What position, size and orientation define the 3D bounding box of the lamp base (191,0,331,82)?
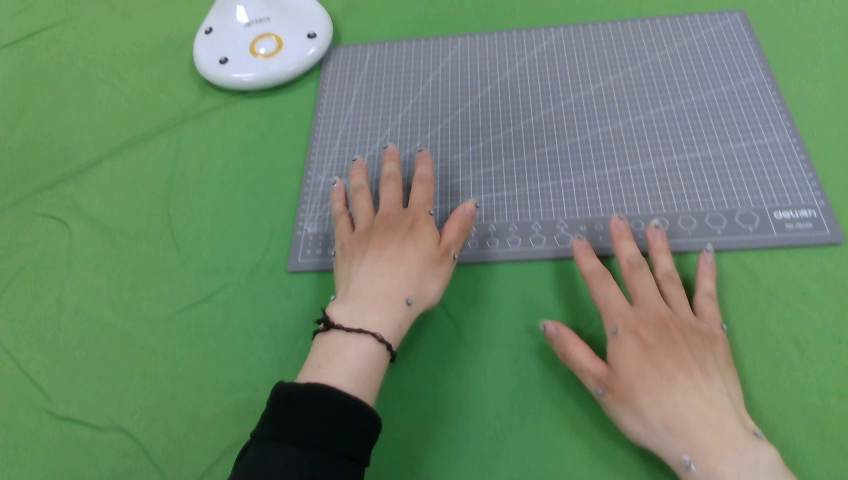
[{"bbox_3d":[-0.200,-0.287,0.629,0.161,0.182,0.177,-28,54,-10],"label":"lamp base"}]
